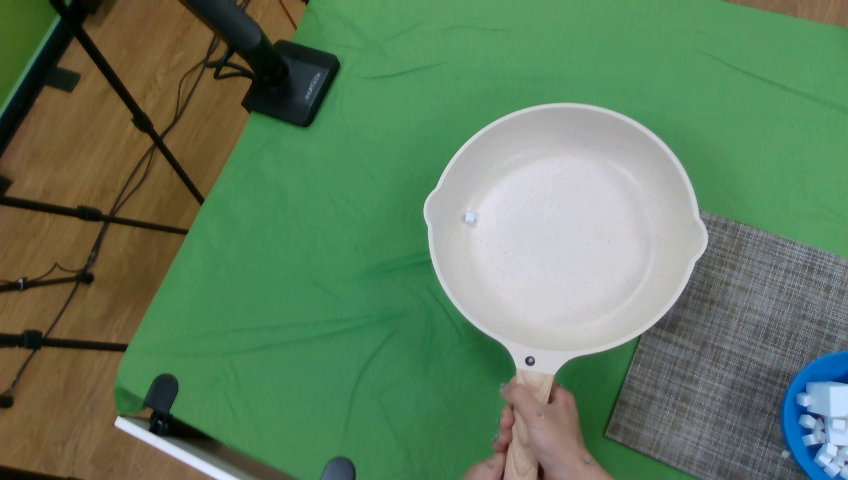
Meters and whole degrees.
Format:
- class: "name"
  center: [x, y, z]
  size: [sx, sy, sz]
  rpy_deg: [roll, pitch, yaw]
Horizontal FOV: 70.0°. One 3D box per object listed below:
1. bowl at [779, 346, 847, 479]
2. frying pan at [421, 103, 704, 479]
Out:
- class: "bowl"
  center: [0.438, 0.190, 0.624]
  size: [0.151, 0.077, 0.150]
  rpy_deg: [-3, 72, 10]
- class: "frying pan"
  center: [0.127, 0.081, 0.656]
  size: [0.306, 0.103, 0.485]
  rpy_deg: [8, 67, 14]
